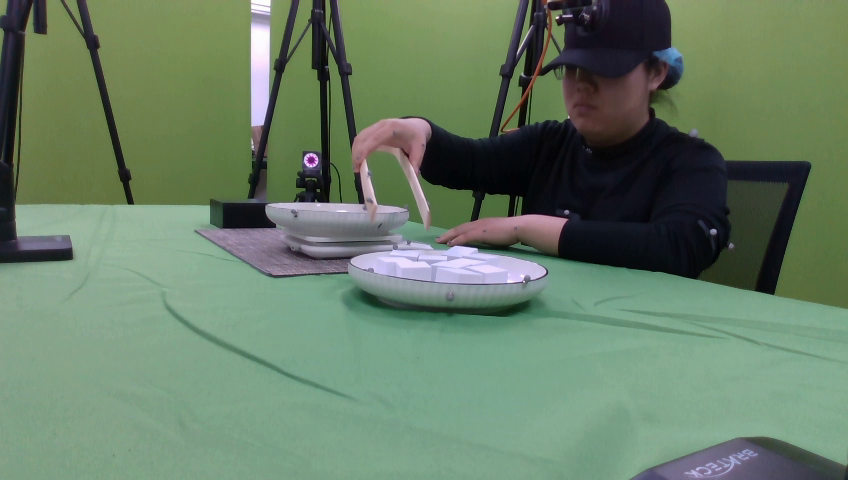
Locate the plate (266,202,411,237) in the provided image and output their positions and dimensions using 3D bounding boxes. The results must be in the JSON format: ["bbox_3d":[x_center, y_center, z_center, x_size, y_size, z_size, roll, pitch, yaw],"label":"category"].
[{"bbox_3d":[-0.123,-0.030,0.879,0.208,0.039,0.207,2,6,0],"label":"plate"}]

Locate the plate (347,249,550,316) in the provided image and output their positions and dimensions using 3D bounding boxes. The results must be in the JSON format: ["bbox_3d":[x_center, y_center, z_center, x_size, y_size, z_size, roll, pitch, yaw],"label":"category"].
[{"bbox_3d":[0.024,0.042,0.627,0.209,0.038,0.209,2,7,0],"label":"plate"}]

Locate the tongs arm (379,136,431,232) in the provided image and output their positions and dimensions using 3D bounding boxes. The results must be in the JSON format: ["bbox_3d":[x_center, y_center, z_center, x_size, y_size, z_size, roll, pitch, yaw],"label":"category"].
[{"bbox_3d":[-0.030,-0.092,0.859,0.028,0.028,0.386,1,22,-11],"label":"tongs arm"}]

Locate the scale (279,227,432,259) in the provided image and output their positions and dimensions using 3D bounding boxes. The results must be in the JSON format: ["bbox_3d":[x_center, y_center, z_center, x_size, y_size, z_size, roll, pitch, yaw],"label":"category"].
[{"bbox_3d":[-0.100,0.001,0.899,0.202,0.031,0.148,-1,9,-31],"label":"scale"}]

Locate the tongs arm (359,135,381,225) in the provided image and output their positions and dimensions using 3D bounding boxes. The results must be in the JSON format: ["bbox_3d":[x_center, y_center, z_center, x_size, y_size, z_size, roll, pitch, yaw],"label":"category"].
[{"bbox_3d":[-0.066,-0.096,0.851,0.051,0.026,0.383,4,21,-12],"label":"tongs arm"}]
